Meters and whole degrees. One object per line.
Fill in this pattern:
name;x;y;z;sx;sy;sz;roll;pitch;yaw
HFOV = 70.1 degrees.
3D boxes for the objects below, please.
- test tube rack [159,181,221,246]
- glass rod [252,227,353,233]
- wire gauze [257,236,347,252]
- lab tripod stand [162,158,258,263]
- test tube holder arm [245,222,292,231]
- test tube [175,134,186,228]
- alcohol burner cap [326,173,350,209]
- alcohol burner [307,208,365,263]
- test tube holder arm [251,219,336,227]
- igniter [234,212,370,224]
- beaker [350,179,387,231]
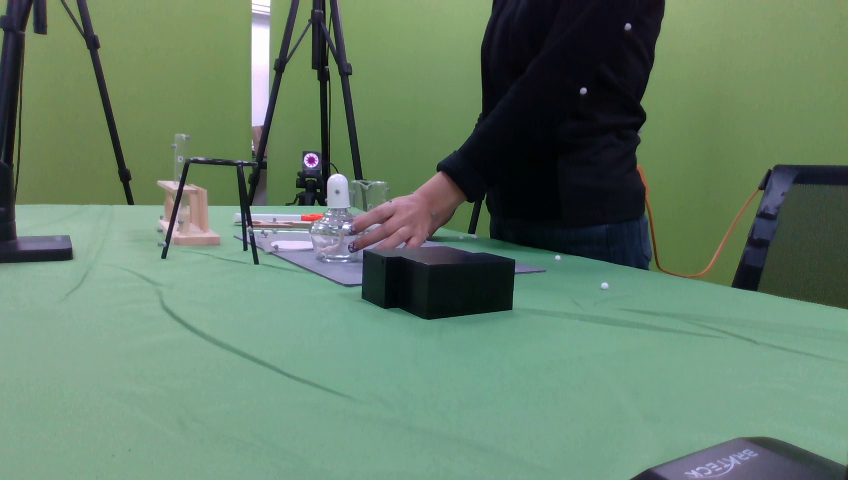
test tube rack;-0.396;-0.050;1.010;0.067;0.085;0.241;-2;8;-28
glass rod;-0.224;-0.017;1.108;0.201;0.008;0.008;1;7;-27
wire gauze;-0.190;0.006;0.931;0.122;0.011;0.124;1;7;-21
lab tripod stand;-0.265;-0.041;0.802;0.148;0.131;0.148;4;7;0
test tube holder arm;-0.291;-0.026;1.130;0.088;0.015;0.010;-2;46;-30
test tube;-0.389;-0.093;0.964;0.017;0.150;0.017;1;2;0
alcohol burner cap;-0.117;-0.065;0.807;0.034;0.048;0.034;-3;10;1
alcohol burner;-0.117;-0.030;0.813;0.078;0.119;0.078;4;9;0
test tube holder arm;-0.254;-0.031;1.157;0.179;0.015;0.013;-3;46;-31
igniter;-0.246;-0.045;1.247;0.278;0.025;0.057;-1;-2;-25
beaker;-0.112;-0.069;1.204;0.074;0.100;0.084;2;8;0
